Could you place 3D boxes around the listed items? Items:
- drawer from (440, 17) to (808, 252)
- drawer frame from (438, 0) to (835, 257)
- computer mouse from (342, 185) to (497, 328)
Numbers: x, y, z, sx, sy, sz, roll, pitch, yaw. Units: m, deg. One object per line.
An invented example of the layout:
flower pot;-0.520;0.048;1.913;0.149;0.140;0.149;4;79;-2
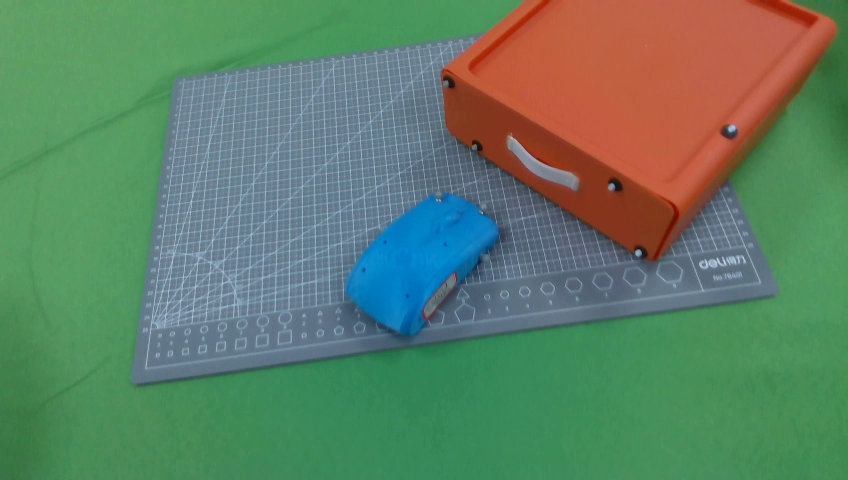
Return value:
drawer;0.153;-0.125;0.466;0.193;0.074;0.211;37;69;24
drawer frame;0.154;-0.126;0.465;0.200;0.083;0.213;37;69;23
computer mouse;-0.002;0.005;0.431;0.062;0.041;0.117;33;64;24
